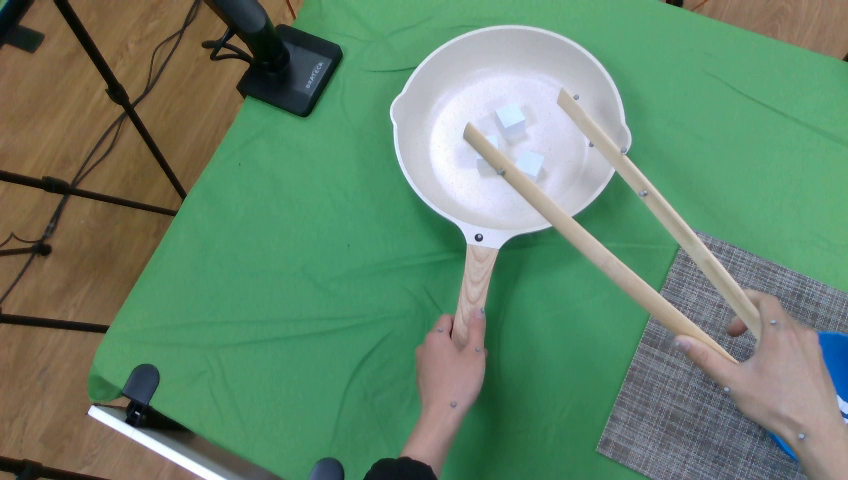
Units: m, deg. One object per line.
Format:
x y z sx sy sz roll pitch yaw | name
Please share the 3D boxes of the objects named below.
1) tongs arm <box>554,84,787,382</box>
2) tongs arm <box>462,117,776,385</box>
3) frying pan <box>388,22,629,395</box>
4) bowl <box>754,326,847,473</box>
0.231 -0.029 0.628 0.051 0.027 0.381 -20 60 -23 | tongs arm
0.169 -0.001 0.598 0.028 0.028 0.384 -29 63 -32 | tongs arm
0.082 -0.050 0.753 0.306 0.103 0.485 11 67 10 | frying pan
0.431 0.174 0.664 0.151 0.077 0.150 -1 74 5 | bowl
